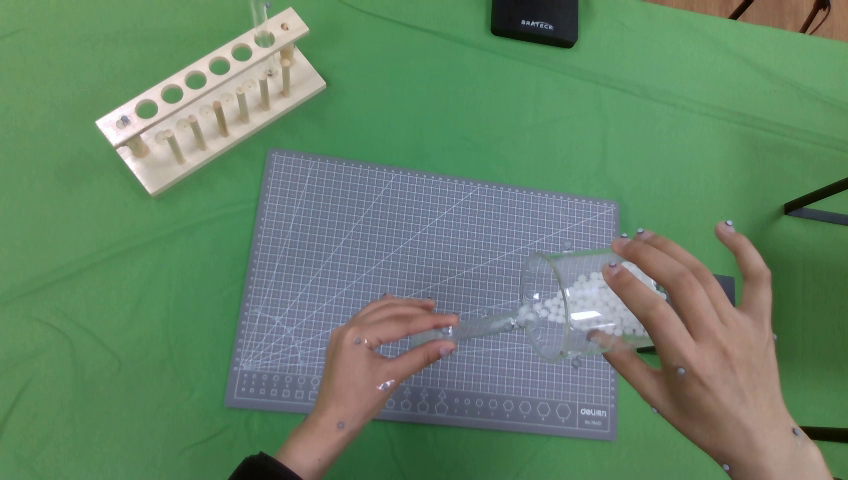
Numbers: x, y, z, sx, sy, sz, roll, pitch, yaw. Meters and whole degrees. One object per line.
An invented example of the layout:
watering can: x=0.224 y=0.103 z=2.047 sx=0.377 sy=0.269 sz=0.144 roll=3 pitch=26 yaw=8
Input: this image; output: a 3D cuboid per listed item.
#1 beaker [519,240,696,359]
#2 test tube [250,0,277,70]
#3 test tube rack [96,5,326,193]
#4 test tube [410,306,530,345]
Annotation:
beaker: x=0.124 y=0.039 z=0.417 sx=0.100 sy=0.084 sz=0.073 roll=-5 pitch=74 yaw=-14
test tube: x=-0.175 y=-0.230 z=0.657 sx=0.017 sy=0.151 sz=0.017 roll=2 pitch=73 yaw=-7
test tube rack: x=-0.227 y=-0.158 z=0.682 sx=0.242 sy=0.085 sz=0.066 roll=-38 pitch=86 yaw=-17
test tube: x=0.031 y=0.072 z=0.500 sx=0.017 sy=0.150 sz=0.017 roll=10 pitch=71 yaw=-32
